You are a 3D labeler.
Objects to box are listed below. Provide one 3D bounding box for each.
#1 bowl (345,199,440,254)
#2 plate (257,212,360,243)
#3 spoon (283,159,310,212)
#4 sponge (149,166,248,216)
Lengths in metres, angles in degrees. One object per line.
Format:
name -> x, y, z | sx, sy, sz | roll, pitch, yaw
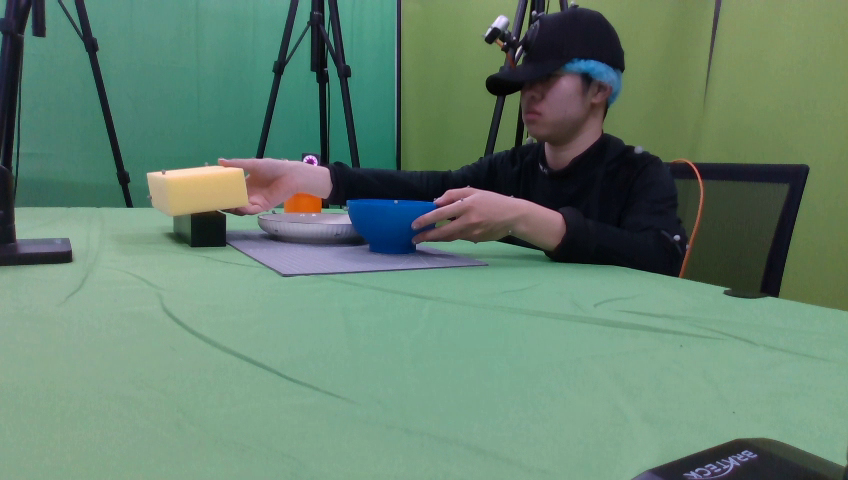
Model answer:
bowl -> -0.051, -0.022, 0.952 | 0.151, 0.077, 0.151 | 2, 7, 0
plate -> -0.189, -0.023, 1.072 | 0.209, 0.038, 0.209 | 3, 7, 0
spoon -> -0.279, -0.110, 1.324 | 0.042, 0.193, 0.021 | 2, -39, -35
sponge -> -0.381, -0.085, 1.010 | 0.119, 0.061, 0.206 | -11, 12, -29
